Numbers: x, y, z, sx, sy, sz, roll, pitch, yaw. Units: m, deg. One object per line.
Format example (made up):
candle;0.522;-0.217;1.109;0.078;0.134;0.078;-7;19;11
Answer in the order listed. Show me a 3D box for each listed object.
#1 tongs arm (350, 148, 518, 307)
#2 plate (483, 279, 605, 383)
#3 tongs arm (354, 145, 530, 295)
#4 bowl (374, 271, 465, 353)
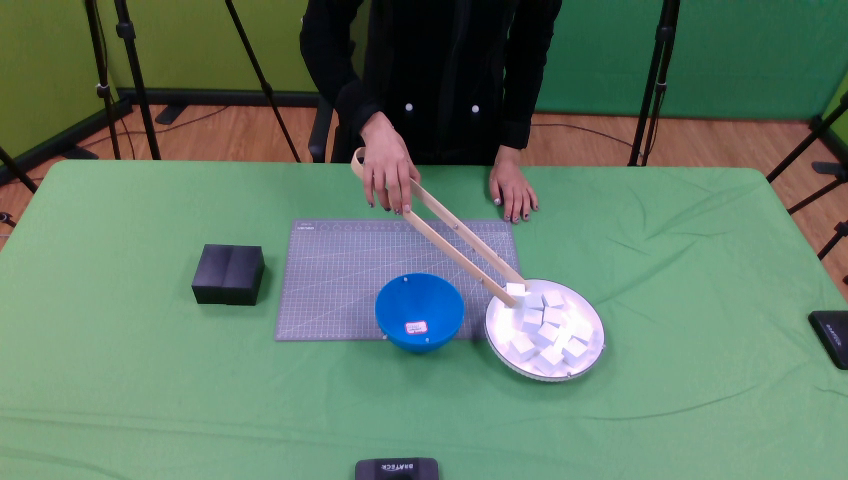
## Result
tongs arm;0.008;-0.023;1.023;0.386;0.028;0.028;42;52;11
plate;0.204;0.158;1.046;0.208;0.039;0.206;3;47;-3
tongs arm;0.025;-0.036;1.042;0.383;0.026;0.051;44;49;13
bowl;-0.009;0.136;1.024;0.151;0.077;0.150;2;47;-2
